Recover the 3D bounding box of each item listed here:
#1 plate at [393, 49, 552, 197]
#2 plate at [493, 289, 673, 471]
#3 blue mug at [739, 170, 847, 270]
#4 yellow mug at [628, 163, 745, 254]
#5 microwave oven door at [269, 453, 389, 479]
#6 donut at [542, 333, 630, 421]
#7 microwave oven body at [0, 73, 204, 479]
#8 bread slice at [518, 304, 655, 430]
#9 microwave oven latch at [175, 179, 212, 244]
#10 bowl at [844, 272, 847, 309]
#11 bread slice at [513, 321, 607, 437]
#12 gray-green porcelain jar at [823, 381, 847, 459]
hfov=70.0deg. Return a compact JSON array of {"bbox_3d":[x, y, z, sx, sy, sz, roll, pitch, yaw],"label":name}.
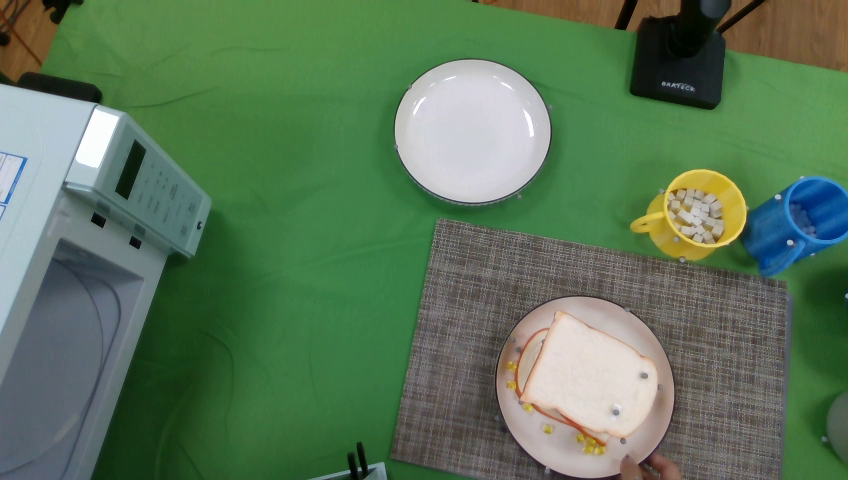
[{"bbox_3d":[0.063,-0.151,0.802,0.208,0.039,0.206,0,75,0],"label":"plate"},{"bbox_3d":[0.184,0.162,0.715,0.209,0.038,0.208,0,75,0],"label":"plate"},{"bbox_3d":[0.438,-0.014,0.730,0.082,0.106,0.116,31,78,9],"label":"blue mug"},{"bbox_3d":[0.320,-0.035,0.756,0.131,0.064,0.099,-9,75,-1],"label":"yellow mug"},{"bbox_3d":[-0.217,0.266,0.568,0.356,0.245,0.039,-12,74,-3],"label":"microwave oven door"},{"bbox_3d":[0.183,0.155,0.688,0.099,0.048,0.098,0,75,0],"label":"donut"},{"bbox_3d":[-0.475,0.072,0.624,0.326,0.261,0.439,13,76,3],"label":"microwave oven body"},{"bbox_3d":[0.182,0.142,0.659,0.134,0.018,0.107,22,83,0],"label":"bread slice"},{"bbox_3d":[-0.290,-0.037,0.752,0.030,0.029,0.079,15,76,4],"label":"microwave oven latch"},{"bbox_3d":[0.566,0.070,0.721,0.151,0.077,0.150,0,75,1],"label":"bowl"},{"bbox_3d":[0.172,0.157,0.716,0.131,0.019,0.104,23,76,7],"label":"bread slice"},{"bbox_3d":[0.518,0.201,0.662,0.106,0.127,0.105,0,75,0],"label":"gray-green porcelain jar"}]
